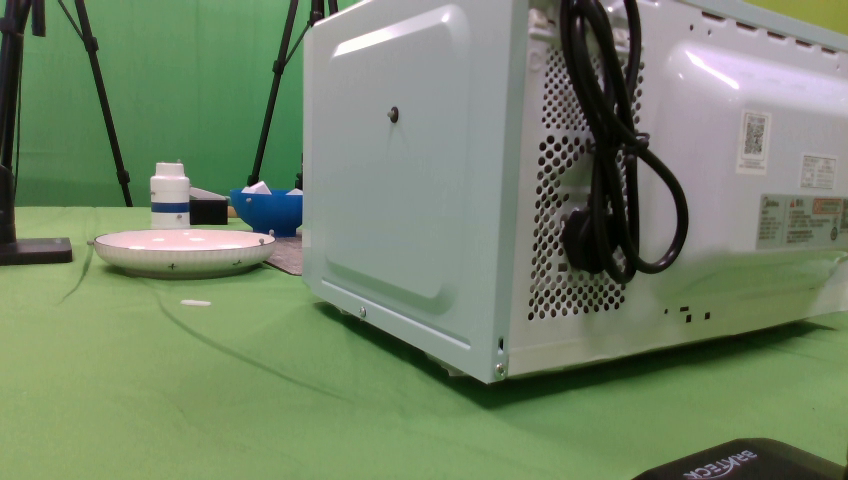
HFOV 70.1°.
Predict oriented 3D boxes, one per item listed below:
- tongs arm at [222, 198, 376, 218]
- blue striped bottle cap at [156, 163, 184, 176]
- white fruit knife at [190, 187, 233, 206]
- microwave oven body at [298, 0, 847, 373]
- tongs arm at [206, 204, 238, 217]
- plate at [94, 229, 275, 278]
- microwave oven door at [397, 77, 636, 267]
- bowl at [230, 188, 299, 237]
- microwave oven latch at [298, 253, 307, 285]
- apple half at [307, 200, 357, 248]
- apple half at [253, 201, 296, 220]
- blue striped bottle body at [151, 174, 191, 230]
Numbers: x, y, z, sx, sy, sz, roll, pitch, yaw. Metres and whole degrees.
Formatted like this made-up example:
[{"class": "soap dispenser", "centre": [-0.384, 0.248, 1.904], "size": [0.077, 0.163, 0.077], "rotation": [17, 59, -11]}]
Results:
[{"class": "tongs arm", "centre": [-0.309, -0.079, 1.487], "size": [0.385, 0.026, 0.050], "rotation": [3, 7, -2]}, {"class": "blue striped bottle cap", "centre": [-0.438, -0.122, 1.045], "size": [0.044, 0.020, 0.044], "rotation": [5, 6, 0]}, {"class": "white fruit knife", "centre": [-0.413, -0.081, 1.270], "size": [0.208, 0.027, 0.016], "rotation": [17, 13, -41]}, {"class": "microwave oven body", "centre": [0.151, -0.055, 0.543], "size": [0.444, 0.260, 0.324], "rotation": [-1, 7, -33]}, {"class": "tongs arm", "centre": [-0.302, -0.065, 1.407], "size": [0.389, 0.028, 0.028], "rotation": [1, 4, -14]}, {"class": "plate", "centre": [-0.291, 0.016, 0.750], "size": [0.208, 0.039, 0.207], "rotation": [2, 7, 0]}, {"class": "microwave oven door", "centre": [0.114, -0.103, 0.871], "size": [0.354, 0.243, 0.039], "rotation": [7, 9, 33]}, {"class": "bowl", "centre": [-0.264, -0.048, 1.066], "size": [0.151, 0.077, 0.151], "rotation": [3, 8, 0]}, {"class": "microwave oven latch", "centre": [-0.081, 0.027, 0.582], "size": [0.079, 0.029, 0.030], "rotation": [-1, 7, -32]}, {"class": "apple half", "centre": [-0.136, -0.024, 0.942], "size": [0.053, 0.074, 0.081], "rotation": [15, 10, 38]}, {"class": "apple half", "centre": [-0.264, -0.053, 1.066], "size": [0.081, 0.033, 0.081], "rotation": [2, 8, 0]}, {"class": "blue striped bottle body", "centre": [-0.439, -0.071, 1.052], "size": [0.063, 0.120, 0.063], "rotation": [2, 7, 0]}]
